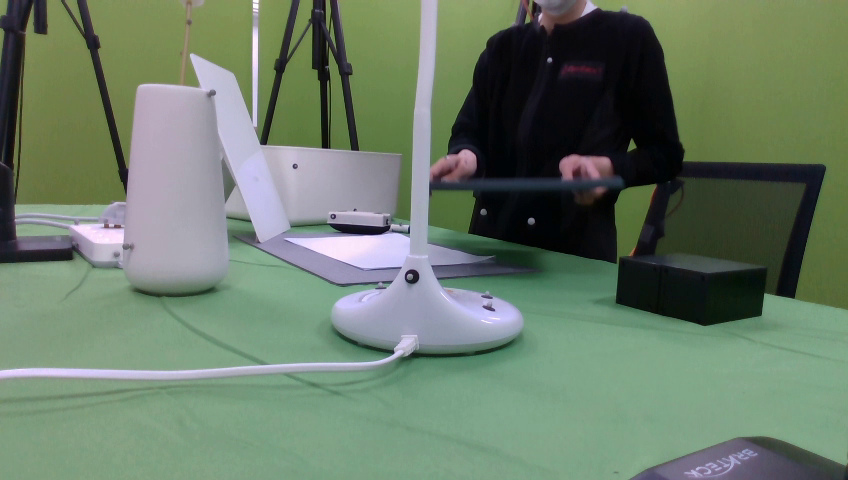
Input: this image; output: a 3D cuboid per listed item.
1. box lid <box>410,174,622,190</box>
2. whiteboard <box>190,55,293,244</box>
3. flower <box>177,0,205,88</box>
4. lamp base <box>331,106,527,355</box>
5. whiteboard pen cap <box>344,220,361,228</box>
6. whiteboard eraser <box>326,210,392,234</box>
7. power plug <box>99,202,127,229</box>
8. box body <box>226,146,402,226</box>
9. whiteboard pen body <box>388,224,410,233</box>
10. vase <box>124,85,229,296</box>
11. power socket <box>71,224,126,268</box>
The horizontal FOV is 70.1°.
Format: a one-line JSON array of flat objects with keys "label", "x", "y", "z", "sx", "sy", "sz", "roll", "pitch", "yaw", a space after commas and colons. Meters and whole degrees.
[{"label": "box lid", "x": 0.128, "y": -0.083, "z": 0.902, "sx": 0.263, "sy": 0.015, "sz": 0.371, "roll": -1, "pitch": 4, "yaw": 5}, {"label": "whiteboard", "x": -0.362, "y": -0.129, "z": 1.029, "sx": 0.144, "sy": 0.305, "sz": 0.217, "roll": -18, "pitch": 7, "yaw": 3}, {"label": "flower", "x": -0.243, "y": -0.131, "z": 0.609, "sx": 0.044, "sy": 0.361, "sz": 0.038, "roll": -5, "pitch": -12, "yaw": 12}, {"label": "lamp base", "x": 0.006, "y": -0.012, "z": 0.478, "sx": 0.161, "sy": 0.180, "sz": 0.179, "roll": 2, "pitch": 10, "yaw": 2}, {"label": "whiteboard pen cap", "x": -0.144, "y": -0.032, "z": 1.230, "sx": 0.033, "sy": 0.018, "sz": 0.018, "roll": 6, "pitch": 8, "yaw": 17}, {"label": "whiteboard eraser", "x": -0.121, "y": -0.034, "z": 1.131, "sx": 0.112, "sy": 0.042, "sz": 0.056, "roll": 4, "pitch": 9, "yaw": 13}, {"label": "power plug", "x": -0.415, "y": -0.026, "z": 0.848, "sx": 0.073, "sy": 0.052, "sz": 0.035, "roll": 6, "pitch": 5, "yaw": -28}, {"label": "box body", "x": -0.254, "y": -0.128, "z": 1.379, "sx": 0.253, "sy": 0.160, "sz": 0.366, "roll": 8, "pitch": 9, "yaw": 36}, {"label": "whiteboard pen body", "x": -0.088, "y": -0.026, "z": 1.213, "sx": 0.140, "sy": 0.017, "sz": 0.017, "roll": 5, "pitch": 8, "yaw": 18}, {"label": "vase", "x": -0.244, "y": -0.047, "z": 0.598, "sx": 0.098, "sy": 0.200, "sz": 0.098, "roll": 3, "pitch": 8, "yaw": 0}, {"label": "power socket", "x": -0.409, "y": 0.004, "z": 0.793, "sx": 0.072, "sy": 0.032, "sz": 0.225, "roll": -2, "pitch": 8, "yaw": -37}]
